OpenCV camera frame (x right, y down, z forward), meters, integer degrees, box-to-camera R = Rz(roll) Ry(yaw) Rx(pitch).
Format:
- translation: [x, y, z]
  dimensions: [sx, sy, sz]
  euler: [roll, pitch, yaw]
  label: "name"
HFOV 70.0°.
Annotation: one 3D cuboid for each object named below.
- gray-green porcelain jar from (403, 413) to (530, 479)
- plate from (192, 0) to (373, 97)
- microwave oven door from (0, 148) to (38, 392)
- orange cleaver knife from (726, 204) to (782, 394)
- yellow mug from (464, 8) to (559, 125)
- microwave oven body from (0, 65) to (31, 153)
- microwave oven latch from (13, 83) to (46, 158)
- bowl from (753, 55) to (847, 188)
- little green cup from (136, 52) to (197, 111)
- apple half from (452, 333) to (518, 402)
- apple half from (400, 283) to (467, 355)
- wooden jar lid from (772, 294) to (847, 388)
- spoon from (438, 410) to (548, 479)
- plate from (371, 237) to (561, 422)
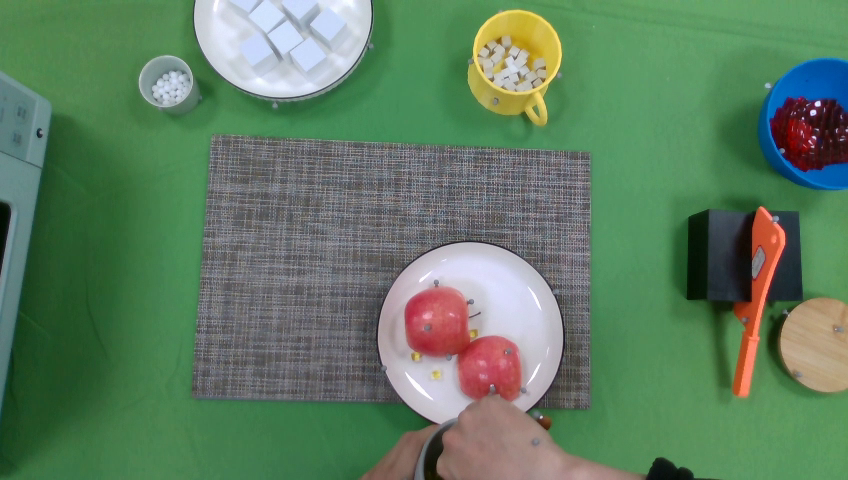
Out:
- translation: [0.032, 0.241, 0.574]
  dimensions: [0.106, 0.127, 0.105]
  euler: [8, 46, -8]
  label: "gray-green porcelain jar"
- translation: [-0.163, -0.266, 0.716]
  dimensions: [0.208, 0.039, 0.207]
  euler: [0, 84, -2]
  label: "plate"
- translation: [-0.464, 0.072, 0.546]
  dimensions: [0.039, 0.244, 0.355]
  euler: [5, 83, -1]
  label: "microwave oven door"
- translation: [0.358, 0.067, 0.675]
  dimensions: [0.012, 0.077, 0.212]
  euler: [3, 107, 2]
  label: "orange cleaver knife"
- translation: [0.107, -0.194, 0.704]
  dimensions: [0.100, 0.064, 0.130]
  euler: [-26, 86, -5]
  label: "yellow mug"
- translation: [-0.605, 0.016, 0.552]
  dimensions: [0.326, 0.260, 0.440]
  euler: [6, 84, -2]
  label: "microwave oven body"
- translation: [-0.445, -0.133, 0.671]
  dimensions: [0.030, 0.029, 0.079]
  euler: [9, 84, -1]
  label: "microwave oven latch"
- translation: [0.444, -0.127, 0.702]
  dimensions: [0.151, 0.077, 0.151]
  euler: [0, 84, -2]
  label: "bowl"
- translation: [-0.294, -0.180, 0.699]
  dimensions: [0.061, 0.038, 0.061]
  euler: [0, 84, -3]
  label: "little green cup"
- translation: [0.069, 0.142, 0.668]
  dimensions: [0.081, 0.033, 0.081]
  euler: [1, 80, -3]
  label: "apple half"
- translation: [0.010, 0.086, 0.663]
  dimensions: [0.075, 0.053, 0.080]
  euler: [0, 84, 0]
  label: "apple half"
- translation: [0.456, 0.117, 0.704]
  dimensions: [0.108, 0.021, 0.108]
  euler: [0, 84, -1]
  label: "wooden jar lid"
- translation: [0.059, 0.186, 0.542]
  dimensions: [0.041, 0.194, 0.021]
  euler: [39, 55, 2]
  label: "spoon"
- translation: [0.046, 0.101, 0.678]
  dimensions: [0.209, 0.038, 0.208]
  euler: [0, 84, -2]
  label: "plate"
